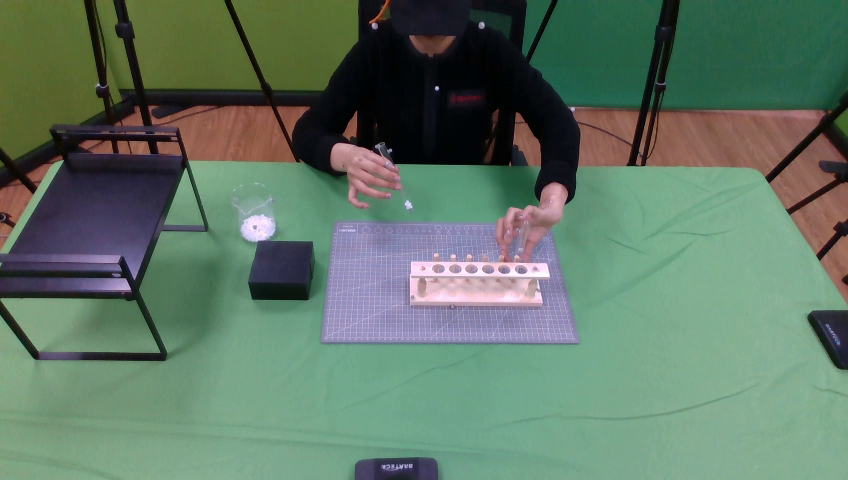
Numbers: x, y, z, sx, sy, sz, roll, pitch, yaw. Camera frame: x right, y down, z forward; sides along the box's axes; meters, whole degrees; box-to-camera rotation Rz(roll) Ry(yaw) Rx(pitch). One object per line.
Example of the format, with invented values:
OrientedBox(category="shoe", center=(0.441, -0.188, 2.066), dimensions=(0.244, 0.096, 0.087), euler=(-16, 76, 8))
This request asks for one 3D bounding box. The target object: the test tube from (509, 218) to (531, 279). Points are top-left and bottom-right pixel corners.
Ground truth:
OrientedBox(category="test tube", center=(0.168, 0.017, 1.070), dimensions=(0.017, 0.151, 0.017), euler=(3, 47, -3))

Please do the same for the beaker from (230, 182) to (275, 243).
OrientedBox(category="beaker", center=(-0.328, -0.049, 1.166), dimensions=(0.074, 0.101, 0.083), euler=(2, 47, -2))

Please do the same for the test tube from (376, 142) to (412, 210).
OrientedBox(category="test tube", center=(-0.055, -0.119, 1.147), dimensions=(0.017, 0.151, 0.017), euler=(-17, 32, 11))

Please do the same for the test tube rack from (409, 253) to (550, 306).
OrientedBox(category="test tube rack", center=(0.095, 0.067, 1.094), dimensions=(0.242, 0.085, 0.066), euler=(1, 46, -4))
